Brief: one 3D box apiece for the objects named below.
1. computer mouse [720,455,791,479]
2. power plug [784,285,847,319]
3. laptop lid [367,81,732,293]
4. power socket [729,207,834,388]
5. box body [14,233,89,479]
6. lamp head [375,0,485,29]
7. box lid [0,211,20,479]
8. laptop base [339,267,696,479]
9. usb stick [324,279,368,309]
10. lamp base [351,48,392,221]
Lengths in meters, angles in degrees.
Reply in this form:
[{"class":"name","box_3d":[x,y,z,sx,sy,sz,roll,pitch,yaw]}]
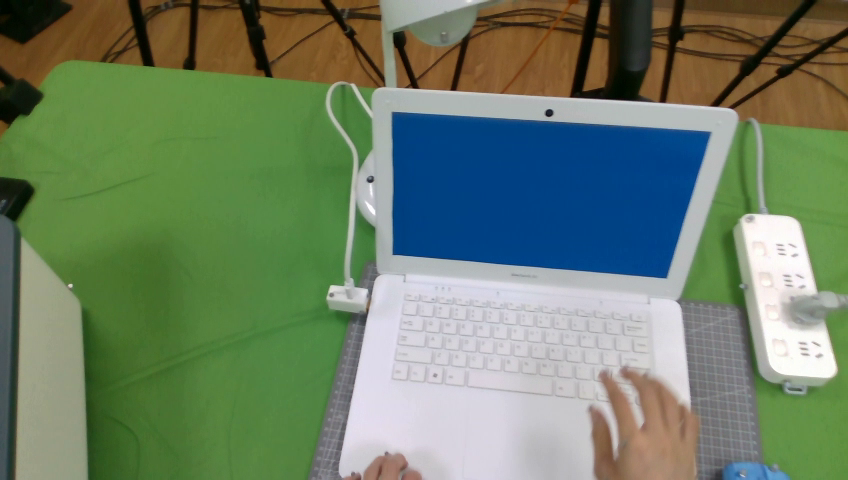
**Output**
[{"class":"computer mouse","box_3d":[0.313,0.259,0.563,0.062,0.041,0.116,9,55,10]},{"class":"power plug","box_3d":[0.430,0.073,0.656,0.072,0.053,0.035,14,58,8]},{"class":"laptop lid","box_3d":[0.116,-0.047,0.647,0.356,0.243,0.013,3,35,5]},{"class":"power socket","box_3d":[0.405,0.056,0.695,0.072,0.033,0.225,5,58,3]},{"class":"box body","box_3d":[-0.471,0.187,0.561,0.254,0.162,0.360,-17,59,-9]},{"class":"lamp head","box_3d":[0.002,-0.238,0.474,0.112,0.112,0.123,-20,103,-11]},{"class":"box lid","box_3d":[-0.474,0.145,0.499,0.263,0.015,0.367,-17,60,-9]},{"class":"laptop base","box_3d":[0.101,0.149,0.653,0.354,0.023,0.233,5,61,5]},{"class":"usb stick","box_3d":[-0.083,0.063,0.697,0.059,0.027,0.021,9,53,5]},{"class":"lamp base","box_3d":[-0.024,-0.127,0.736,0.161,0.182,0.177,-27,58,-15]}]
